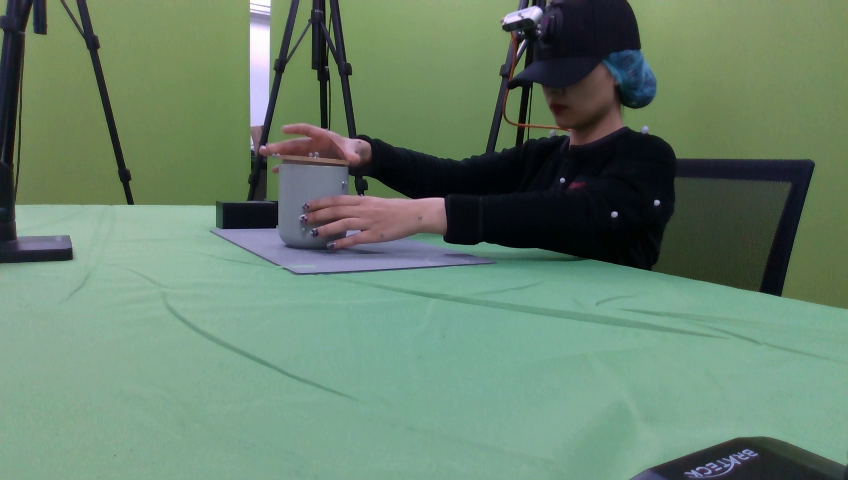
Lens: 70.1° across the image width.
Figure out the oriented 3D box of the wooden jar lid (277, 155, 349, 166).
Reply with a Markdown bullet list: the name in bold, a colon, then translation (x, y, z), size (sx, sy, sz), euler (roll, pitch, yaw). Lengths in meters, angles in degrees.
- **wooden jar lid**: translation (-0.170, -0.117, 0.925), size (0.108, 0.020, 0.108), euler (4, 7, 0)

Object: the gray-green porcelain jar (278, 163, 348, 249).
- **gray-green porcelain jar**: translation (-0.171, -0.053, 0.934), size (0.106, 0.126, 0.106), euler (2, 7, 0)
